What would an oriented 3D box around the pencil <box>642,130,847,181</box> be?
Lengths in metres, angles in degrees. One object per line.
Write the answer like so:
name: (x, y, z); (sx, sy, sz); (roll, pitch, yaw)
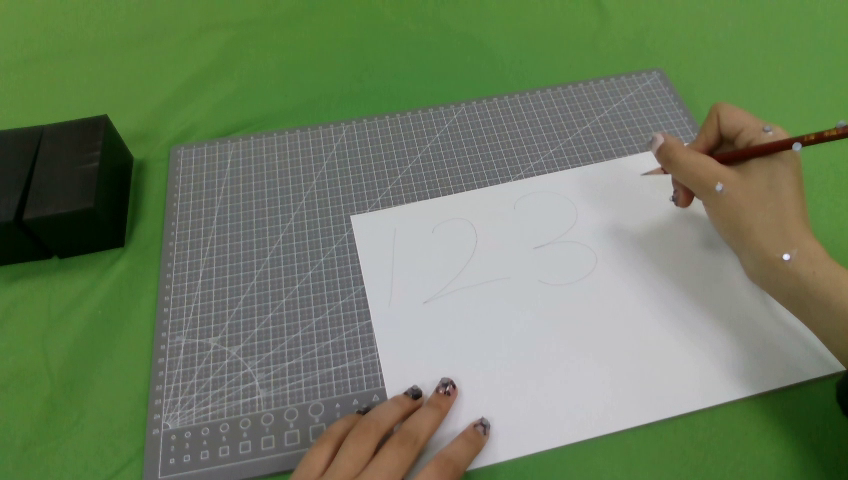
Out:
pencil: (0.217, -0.054, 0.369); (0.193, 0.012, 0.012); (-10, 35, 54)
